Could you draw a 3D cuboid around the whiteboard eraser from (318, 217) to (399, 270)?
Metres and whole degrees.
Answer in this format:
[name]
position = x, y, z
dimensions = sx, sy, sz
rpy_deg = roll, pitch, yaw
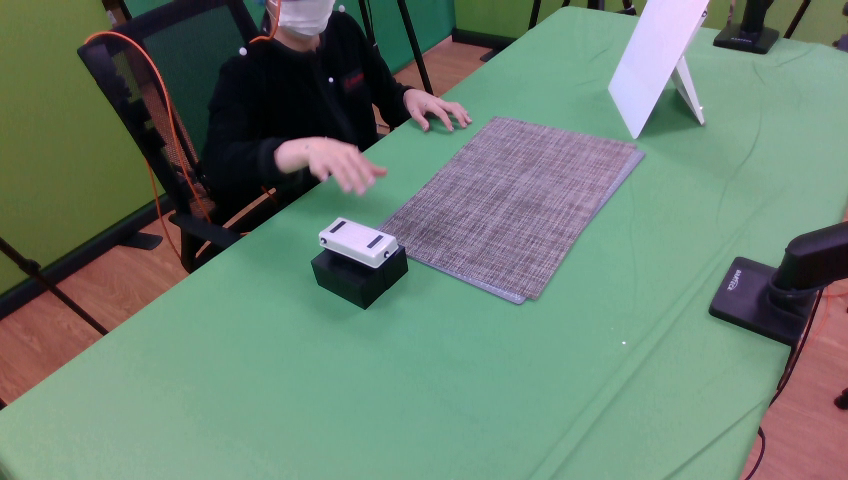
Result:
[whiteboard eraser]
position = -0.097, 0.006, 0.887
dimensions = 0.112, 0.042, 0.056
rpy_deg = 20, 49, 29

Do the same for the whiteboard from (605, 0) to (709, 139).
[whiteboard]
position = 0.496, -0.358, 1.146
dimensions = 0.144, 0.305, 0.216
rpy_deg = 11, 40, -8
